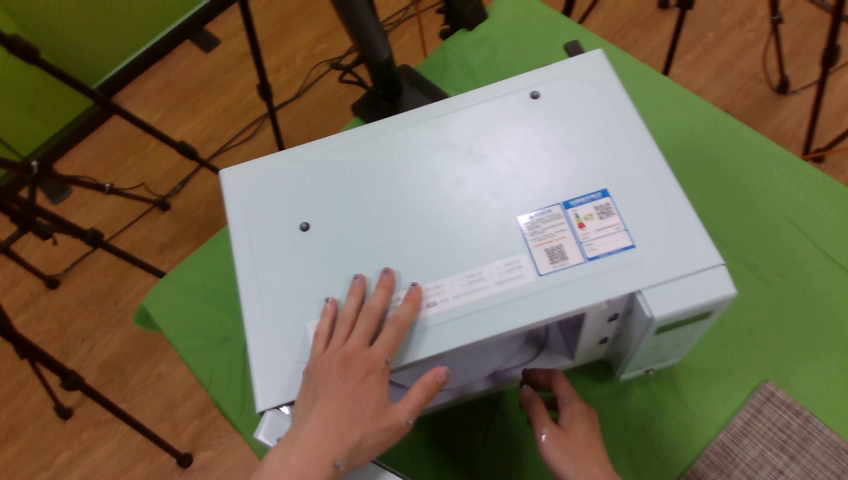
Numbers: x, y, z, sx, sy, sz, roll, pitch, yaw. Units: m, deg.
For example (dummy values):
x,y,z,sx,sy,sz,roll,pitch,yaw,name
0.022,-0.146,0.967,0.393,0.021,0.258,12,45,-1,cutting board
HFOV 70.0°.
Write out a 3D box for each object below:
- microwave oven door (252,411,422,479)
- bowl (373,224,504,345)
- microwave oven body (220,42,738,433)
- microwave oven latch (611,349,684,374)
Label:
x,y,z,sx,sy,sz,roll,pitch,yaw,name
0.027,0.268,0.580,0.354,0.246,0.039,22,70,18,microwave oven door
0.021,0.064,0.724,0.151,0.077,0.150,-3,60,6,bowl
0.043,0.022,0.700,0.442,0.262,0.323,-18,64,1,microwave oven body
0.266,0.135,0.721,0.079,0.030,0.030,-17,64,1,microwave oven latch
